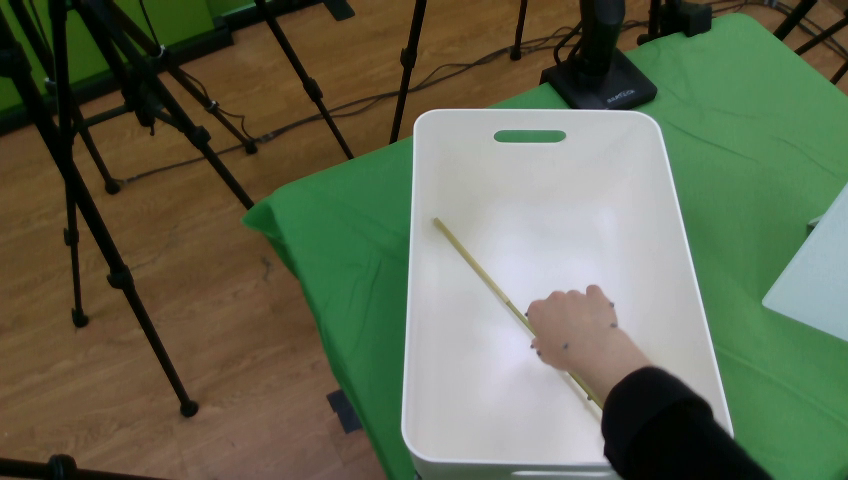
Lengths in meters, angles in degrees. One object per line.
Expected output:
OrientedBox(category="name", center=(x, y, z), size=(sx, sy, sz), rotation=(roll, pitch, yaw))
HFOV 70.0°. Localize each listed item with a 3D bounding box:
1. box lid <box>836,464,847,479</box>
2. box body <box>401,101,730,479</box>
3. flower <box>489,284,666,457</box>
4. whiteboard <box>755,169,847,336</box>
OrientedBox(category="box lid", center=(0.406, 0.394, 0.489), size=(0.261, 0.015, 0.371), rotation=(37, 66, 20))
OrientedBox(category="box body", center=(0.112, 0.049, 0.611), size=(0.254, 0.162, 0.360), rotation=(0, 59, 1))
OrientedBox(category="flower", center=(0.114, 0.089, 0.669), size=(0.044, 0.038, 0.358), rotation=(-47, 58, 4))
OrientedBox(category="whiteboard", center=(0.529, -0.041, 0.619), size=(0.216, 0.308, 0.143), rotation=(25, 43, 15))
